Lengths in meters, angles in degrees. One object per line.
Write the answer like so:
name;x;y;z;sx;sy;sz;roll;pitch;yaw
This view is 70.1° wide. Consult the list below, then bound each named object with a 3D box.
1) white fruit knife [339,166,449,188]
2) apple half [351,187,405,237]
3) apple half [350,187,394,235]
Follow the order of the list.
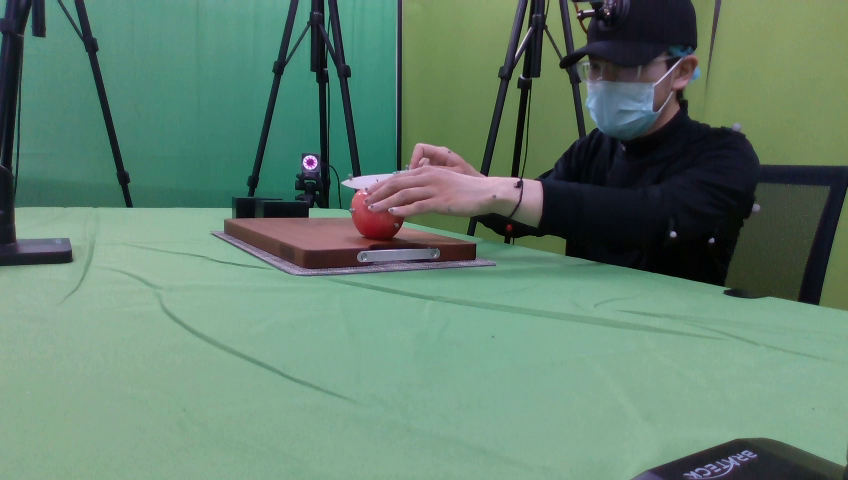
white fruit knife;-0.041;-0.096;0.925;0.208;0.027;0.016;-10;7;-40
apple half;-0.060;-0.040;0.884;0.081;0.074;0.053;1;10;-40
apple half;-0.085;-0.046;0.913;0.082;0.081;0.032;-3;13;-39
